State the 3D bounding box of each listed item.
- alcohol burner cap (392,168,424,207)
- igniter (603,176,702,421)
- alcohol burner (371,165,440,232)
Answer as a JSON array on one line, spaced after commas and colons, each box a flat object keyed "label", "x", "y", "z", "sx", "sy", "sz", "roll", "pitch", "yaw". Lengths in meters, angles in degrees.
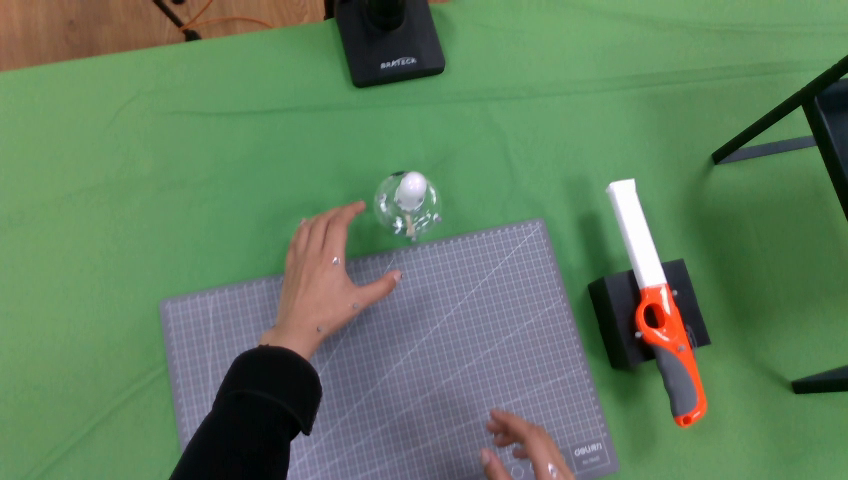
[{"label": "alcohol burner cap", "x": -0.015, "y": -0.058, "z": 0.639, "sx": 0.034, "sy": 0.048, "sz": 0.033, "roll": 3, "pitch": 74, "yaw": -9}, {"label": "igniter", "x": 0.253, "y": 0.058, "z": 0.673, "sx": 0.057, "sy": 0.025, "sz": 0.275, "roll": -9, "pitch": 74, "yaw": -9}, {"label": "alcohol burner", "x": -0.018, "y": -0.051, "z": 0.669, "sx": 0.078, "sy": 0.119, "sz": 0.077, "roll": 2, "pitch": 75, "yaw": -8}]
